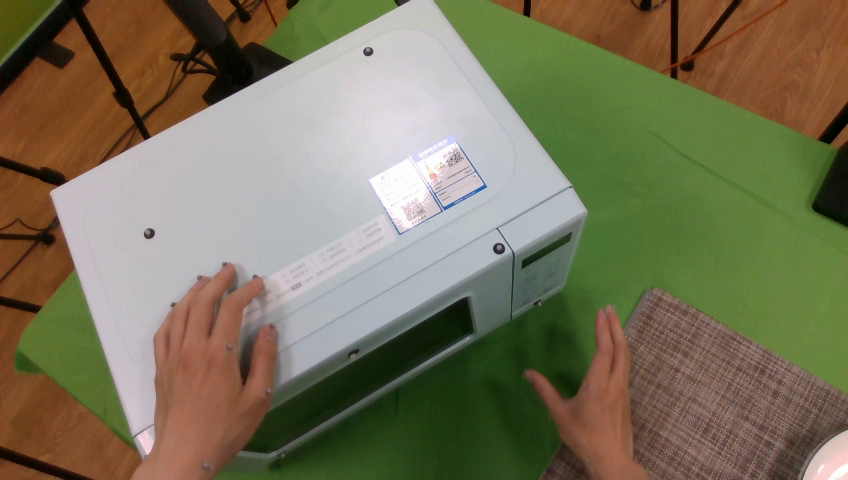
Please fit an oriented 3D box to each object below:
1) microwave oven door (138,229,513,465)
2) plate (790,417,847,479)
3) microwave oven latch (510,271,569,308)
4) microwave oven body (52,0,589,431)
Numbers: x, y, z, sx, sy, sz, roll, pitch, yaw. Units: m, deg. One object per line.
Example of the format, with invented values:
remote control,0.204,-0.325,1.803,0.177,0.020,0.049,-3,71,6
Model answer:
microwave oven door,-0.068,0.123,0.624,0.356,0.245,0.039,-30,68,-5
plate,0.481,0.285,0.620,0.207,0.039,0.206,-2,69,6
microwave oven latch,0.136,0.052,0.735,0.079,0.030,0.030,-26,69,-3
microwave oven body,-0.102,-0.012,0.684,0.442,0.262,0.323,-30,69,-4
